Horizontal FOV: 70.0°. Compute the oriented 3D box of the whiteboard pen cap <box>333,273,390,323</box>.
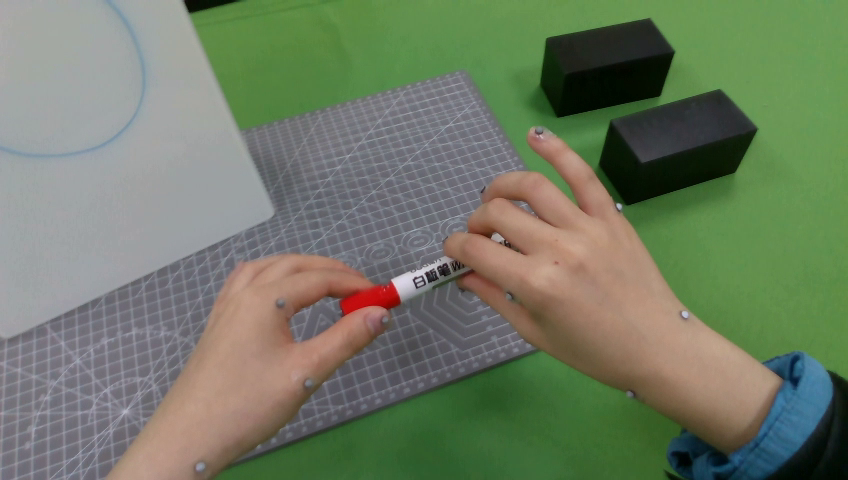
[{"bbox_3d":[-0.033,0.032,0.335,0.032,0.017,0.017,-25,57,-22],"label":"whiteboard pen cap"}]

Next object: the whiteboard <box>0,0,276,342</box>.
[{"bbox_3d":[-0.275,-0.123,0.426,0.217,0.308,0.142,-27,38,-14],"label":"whiteboard"}]

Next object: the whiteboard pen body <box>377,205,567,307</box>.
[{"bbox_3d":[0.022,0.012,0.349,0.141,0.017,0.016,-24,57,-14],"label":"whiteboard pen body"}]
